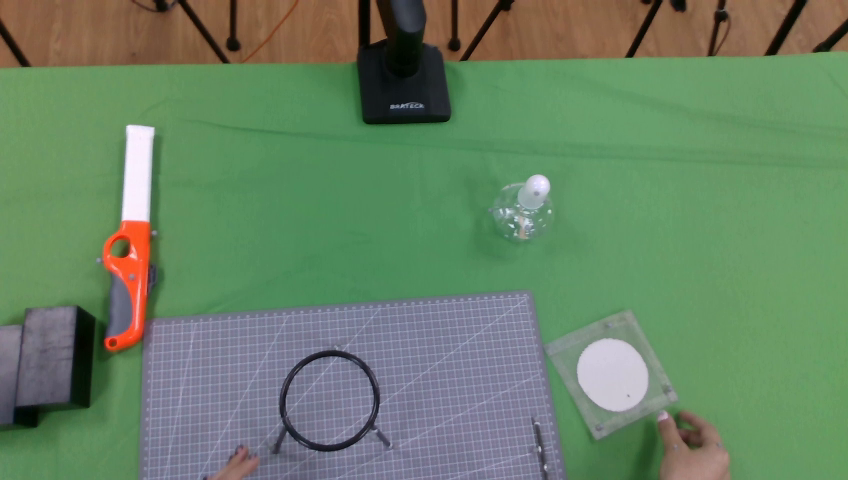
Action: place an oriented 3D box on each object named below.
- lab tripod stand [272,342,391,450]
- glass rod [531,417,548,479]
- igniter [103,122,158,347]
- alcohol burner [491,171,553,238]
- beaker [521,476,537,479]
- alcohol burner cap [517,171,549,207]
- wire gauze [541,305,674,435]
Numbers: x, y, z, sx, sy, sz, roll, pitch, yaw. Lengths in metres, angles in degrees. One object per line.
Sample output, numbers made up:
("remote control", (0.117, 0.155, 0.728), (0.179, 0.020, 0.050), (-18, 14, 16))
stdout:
("lab tripod stand", (-0.095, 0.161, 0.608), (0.148, 0.132, 0.147), (2, 68, -5))
("glass rod", (0.136, 0.294, 0.656), (0.008, 0.008, 0.198), (-4, 69, -9))
("igniter", (-0.337, -0.013, 0.701), (0.057, 0.025, 0.274), (3, 68, -23))
("alcohol burner", (0.123, -0.048, 0.732), (0.078, 0.120, 0.077), (3, 67, -6))
("beaker", (0.082, 0.278, 0.606), (0.074, 0.101, 0.083), (26, 67, 3))
("alcohol burner cap", (0.128, -0.061, 0.699), (0.034, 0.048, 0.033), (1, 73, -4))
("wire gauze", (0.221, 0.153, 0.725), (0.125, 0.011, 0.120), (-21, 73, -12))
